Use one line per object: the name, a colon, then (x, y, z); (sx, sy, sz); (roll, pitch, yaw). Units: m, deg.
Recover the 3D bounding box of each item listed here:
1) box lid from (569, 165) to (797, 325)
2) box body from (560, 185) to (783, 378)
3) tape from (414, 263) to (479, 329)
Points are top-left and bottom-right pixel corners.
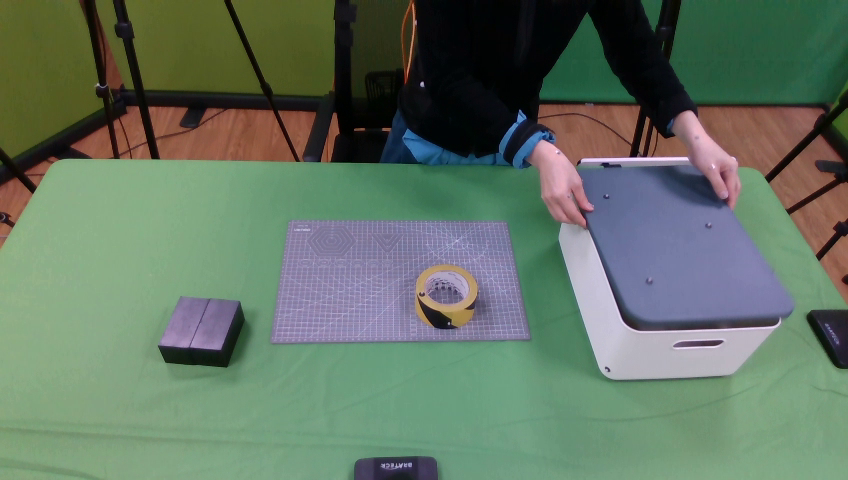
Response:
box lid: (0.408, -0.008, 1.002); (0.263, 0.015, 0.369); (-3, 43, -5)
box body: (0.405, 0.057, 1.074); (0.254, 0.161, 0.361); (-2, 46, -5)
tape: (0.038, 0.099, 1.079); (0.117, 0.053, 0.116); (3, 46, -2)
